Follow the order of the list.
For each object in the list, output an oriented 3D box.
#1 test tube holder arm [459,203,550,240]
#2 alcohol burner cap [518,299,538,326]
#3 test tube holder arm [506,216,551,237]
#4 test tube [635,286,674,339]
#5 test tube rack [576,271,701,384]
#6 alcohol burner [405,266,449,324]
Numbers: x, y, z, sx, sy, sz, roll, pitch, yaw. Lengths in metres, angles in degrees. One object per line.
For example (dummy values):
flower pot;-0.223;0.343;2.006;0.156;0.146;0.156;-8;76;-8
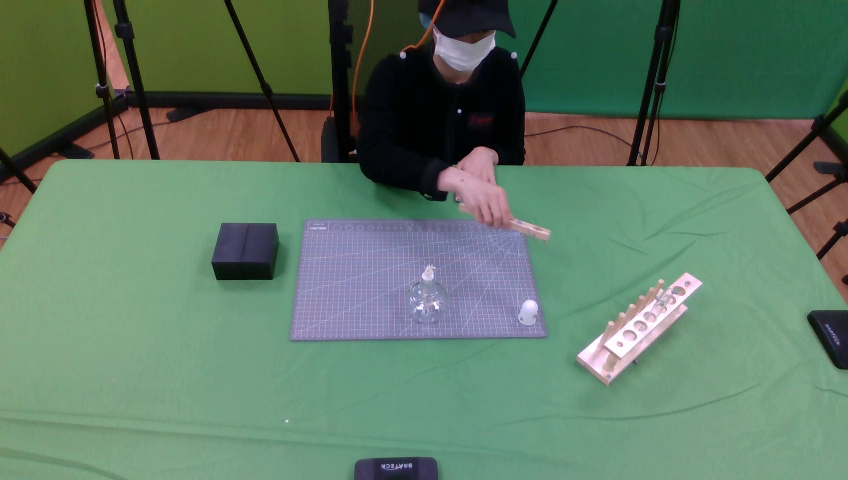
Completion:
test tube holder arm;0.143;-0.035;1.099;0.178;0.015;0.013;20;35;23
alcohol burner cap;0.186;0.126;1.072;0.034;0.048;0.033;1;45;-1
test tube holder arm;0.185;-0.023;1.086;0.087;0.015;0.010;20;35;23
test tube;0.375;0.123;0.994;0.017;0.151;0.017;2;52;-2
test tube rack;0.373;0.138;1.047;0.242;0.085;0.066;-31;56;-29
alcohol burner;0.005;0.089;1.043;0.078;0.120;0.077;1;45;-1
